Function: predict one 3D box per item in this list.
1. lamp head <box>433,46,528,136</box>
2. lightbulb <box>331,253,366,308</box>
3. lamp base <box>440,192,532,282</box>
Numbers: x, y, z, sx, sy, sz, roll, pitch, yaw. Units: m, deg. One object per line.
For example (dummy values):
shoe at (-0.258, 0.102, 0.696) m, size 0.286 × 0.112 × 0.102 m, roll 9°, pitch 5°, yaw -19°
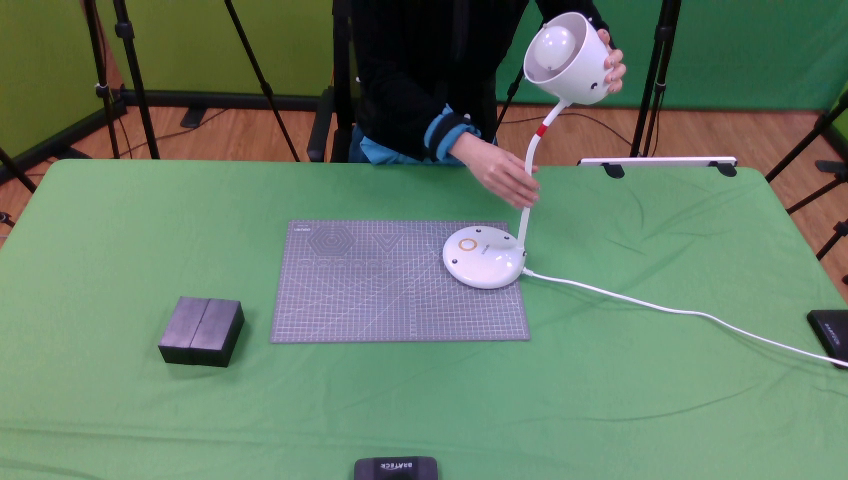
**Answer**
lamp head at (0.094, -0.228, 0.904) m, size 0.123 × 0.113 × 0.112 m, roll -20°, pitch 39°, yaw 27°
lightbulb at (-0.131, 0.074, 1.094) m, size 0.059 × 0.060 × 0.107 m, roll -15°, pitch 65°, yaw -18°
lamp base at (0.127, -0.032, 1.123) m, size 0.179 × 0.181 × 0.159 m, roll 10°, pitch 47°, yaw 2°
